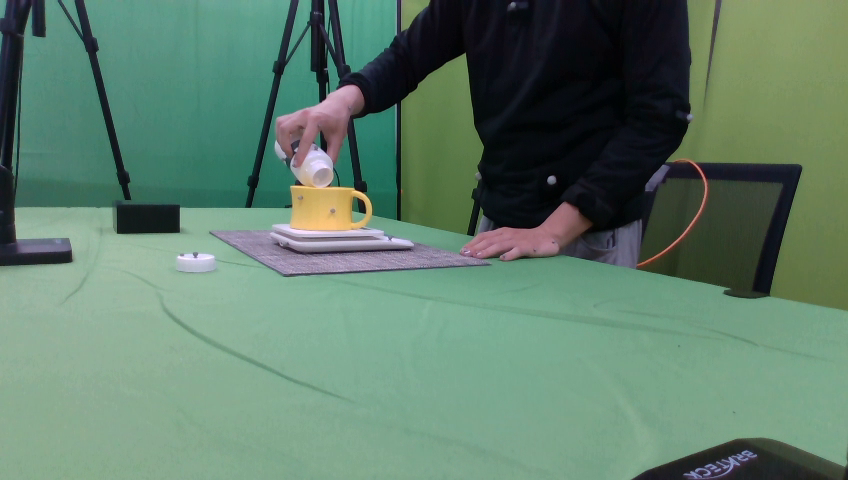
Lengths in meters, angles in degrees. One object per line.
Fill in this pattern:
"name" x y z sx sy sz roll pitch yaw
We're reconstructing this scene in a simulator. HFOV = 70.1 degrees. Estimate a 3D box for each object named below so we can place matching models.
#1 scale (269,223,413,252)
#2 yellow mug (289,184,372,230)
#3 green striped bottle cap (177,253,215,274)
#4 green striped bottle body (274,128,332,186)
"scale" -0.132 -0.007 0.965 0.202 0.031 0.148 -2 8 -31
"yellow mug" -0.145 -0.052 0.944 0.131 0.064 0.100 4 7 9
"green striped bottle cap" -0.279 0.028 0.741 0.044 0.020 0.044 4 6 0
"green striped bottle body" -0.196 -0.133 1.000 0.063 0.063 0.118 -4 35 -40
